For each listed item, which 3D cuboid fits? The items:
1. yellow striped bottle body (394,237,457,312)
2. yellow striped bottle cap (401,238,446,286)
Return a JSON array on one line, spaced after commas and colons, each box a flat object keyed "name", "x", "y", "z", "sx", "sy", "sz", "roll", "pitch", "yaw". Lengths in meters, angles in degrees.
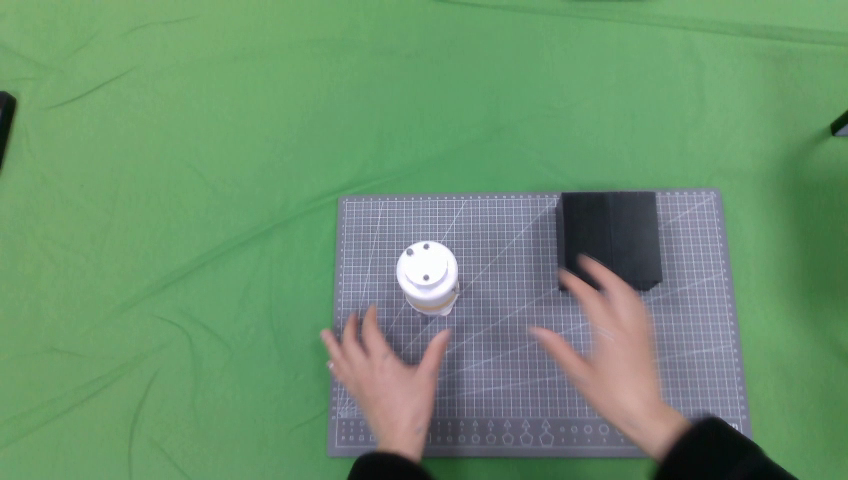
[{"name": "yellow striped bottle body", "x": 0.003, "y": 0.036, "z": 0.640, "sx": 0.063, "sy": 0.121, "sz": 0.062, "roll": -1, "pitch": 74, "yaw": 3}, {"name": "yellow striped bottle cap", "x": -0.001, "y": 0.021, "z": 0.590, "sx": 0.044, "sy": 0.019, "sz": 0.044, "roll": -1, "pitch": 74, "yaw": 5}]
